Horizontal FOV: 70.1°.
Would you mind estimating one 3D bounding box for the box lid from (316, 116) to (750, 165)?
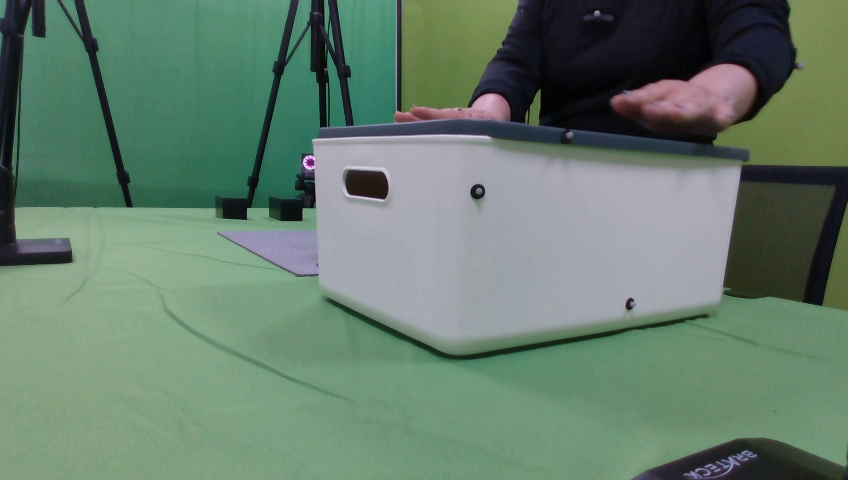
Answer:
[{"bbox_3d":[0.106,-0.089,0.593,0.374,0.015,0.262,-1,7,-35],"label":"box lid"}]

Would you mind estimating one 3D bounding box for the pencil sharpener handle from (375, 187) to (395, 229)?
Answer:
[{"bbox_3d":[-0.059,-0.050,0.958,0.031,0.067,0.036,-1,16,-29],"label":"pencil sharpener handle"}]

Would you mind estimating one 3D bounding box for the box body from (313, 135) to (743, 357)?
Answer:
[{"bbox_3d":[0.099,-0.011,0.596,0.366,0.160,0.253,-2,8,-34],"label":"box body"}]

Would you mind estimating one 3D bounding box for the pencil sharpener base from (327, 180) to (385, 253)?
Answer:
[{"bbox_3d":[-0.103,-0.037,0.932,0.077,0.107,0.061,-1,7,-30],"label":"pencil sharpener base"}]
